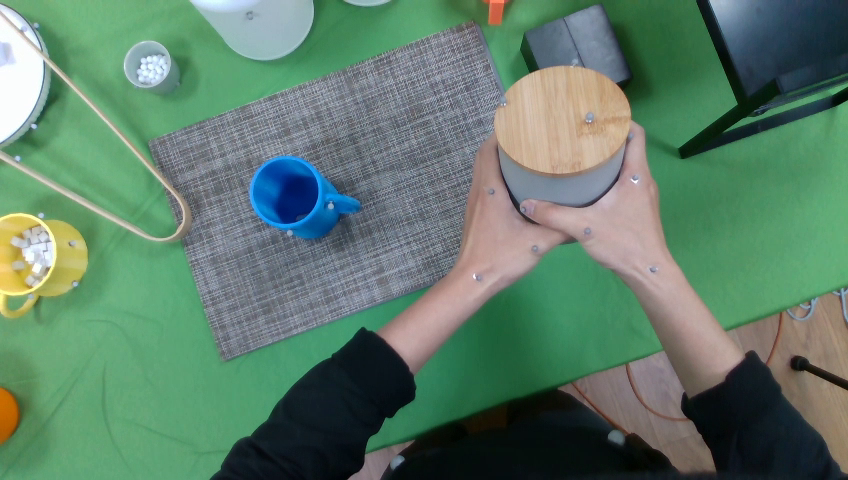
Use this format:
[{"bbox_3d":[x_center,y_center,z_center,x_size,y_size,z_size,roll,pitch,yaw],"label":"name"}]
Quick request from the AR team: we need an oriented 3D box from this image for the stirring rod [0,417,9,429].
[{"bbox_3d":[-0.586,0.225,0.699,0.006,0.177,0.014,-33,64,42],"label":"stirring rod"}]

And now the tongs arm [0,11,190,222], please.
[{"bbox_3d":[-0.429,-0.171,0.761,0.028,0.028,0.388,-44,92,-10],"label":"tongs arm"}]

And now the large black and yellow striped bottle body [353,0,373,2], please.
[{"bbox_3d":[-0.082,-0.381,0.708,0.131,0.184,0.130,0,85,3],"label":"large black and yellow striped bottle body"}]

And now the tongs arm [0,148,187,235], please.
[{"bbox_3d":[-0.479,-0.104,0.755,0.385,0.026,0.050,32,84,-3],"label":"tongs arm"}]

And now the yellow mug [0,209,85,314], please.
[{"bbox_3d":[-0.494,0.029,0.750,0.100,0.064,0.130,18,87,3],"label":"yellow mug"}]

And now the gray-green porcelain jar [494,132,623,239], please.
[{"bbox_3d":[0.121,-0.069,0.550,0.106,0.128,0.105,-5,60,9],"label":"gray-green porcelain jar"}]

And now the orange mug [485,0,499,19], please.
[{"bbox_3d":[0.086,-0.343,0.742,0.083,0.101,0.126,3,81,3],"label":"orange mug"}]

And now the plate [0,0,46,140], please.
[{"bbox_3d":[-0.589,-0.218,0.787,0.207,0.039,0.207,0,86,2],"label":"plate"}]

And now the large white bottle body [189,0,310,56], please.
[{"bbox_3d":[-0.217,-0.311,0.707,0.130,0.185,0.130,0,85,2],"label":"large white bottle body"}]

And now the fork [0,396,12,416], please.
[{"bbox_3d":[-0.600,0.210,0.697,0.208,0.018,0.028,-2,82,-42],"label":"fork"}]

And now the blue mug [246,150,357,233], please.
[{"bbox_3d":[-0.138,-0.053,0.720,0.116,0.106,0.082,5,85,3],"label":"blue mug"}]

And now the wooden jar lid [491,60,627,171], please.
[{"bbox_3d":[0.109,-0.100,0.497,0.108,0.021,0.107,-5,62,9],"label":"wooden jar lid"}]

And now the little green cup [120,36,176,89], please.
[{"bbox_3d":[-0.352,-0.225,0.779,0.061,0.038,0.061,0,86,2],"label":"little green cup"}]
